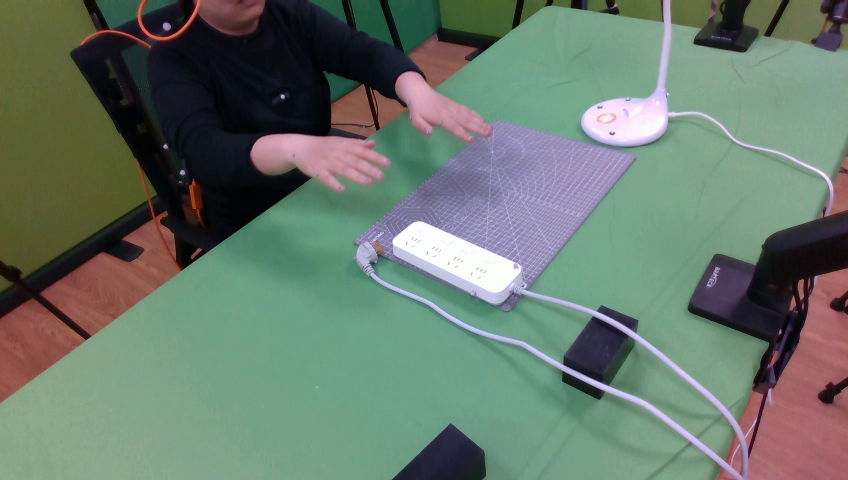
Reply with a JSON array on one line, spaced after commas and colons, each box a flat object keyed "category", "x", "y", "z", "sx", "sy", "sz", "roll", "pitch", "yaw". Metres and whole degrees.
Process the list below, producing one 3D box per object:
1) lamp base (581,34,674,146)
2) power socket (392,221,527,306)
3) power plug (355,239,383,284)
[{"category": "lamp base", "x": 0.392, "y": -0.291, "z": 1.129, "sx": 0.180, "sy": 0.181, "sz": 0.159, "roll": -11, "pitch": 41, "yaw": -8}, {"category": "power socket", "x": 0.046, "y": 0.031, "z": 0.913, "sx": 0.225, "sy": 0.033, "sz": 0.072, "roll": 25, "pitch": 51, "yaw": 32}, {"category": "power plug", "x": -0.078, "y": 0.033, "z": 0.947, "sx": 0.053, "sy": 0.035, "sz": 0.072, "roll": -33, "pitch": 82, "yaw": -23}]
